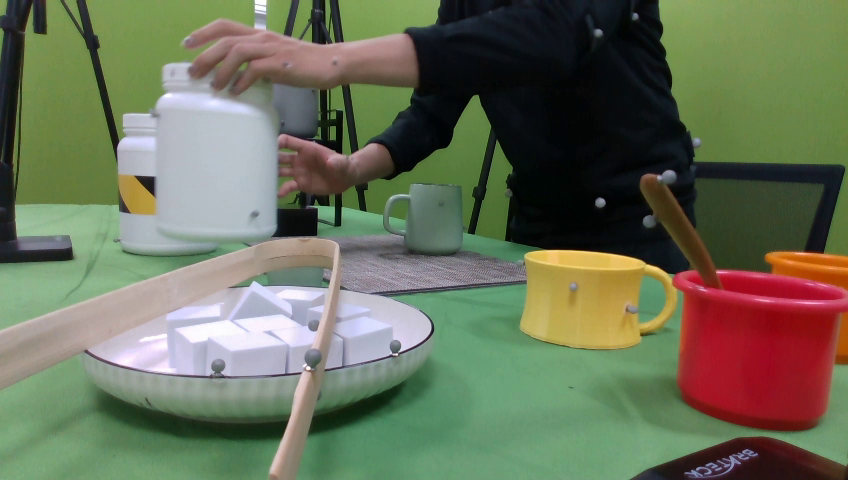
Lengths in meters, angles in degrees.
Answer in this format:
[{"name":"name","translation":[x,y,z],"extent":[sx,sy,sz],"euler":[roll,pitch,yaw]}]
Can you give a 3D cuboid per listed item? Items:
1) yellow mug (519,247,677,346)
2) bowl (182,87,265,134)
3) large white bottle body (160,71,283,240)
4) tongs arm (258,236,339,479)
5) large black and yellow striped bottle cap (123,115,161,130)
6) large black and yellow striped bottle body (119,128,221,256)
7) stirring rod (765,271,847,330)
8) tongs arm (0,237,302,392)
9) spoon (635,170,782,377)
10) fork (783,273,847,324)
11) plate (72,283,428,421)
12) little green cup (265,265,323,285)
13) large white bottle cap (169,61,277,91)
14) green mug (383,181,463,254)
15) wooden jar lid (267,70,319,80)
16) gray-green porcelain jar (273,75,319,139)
[{"name":"yellow mug","translation":[0.148,0.045,0.513],"extent":[0.131,0.064,0.100],"euler":[3,7,0]},{"name":"bowl","translation":[-0.383,-0.244,1.158],"extent":[0.151,0.077,0.151],"euler":[2,7,0]},{"name":"large white bottle body","translation":[-0.229,-0.100,0.690],"extent":[0.131,0.184,0.130],"euler":[4,8,0]},{"name":"tongs arm","translation":[-0.074,0.040,0.345],"extent":[0.051,0.026,0.384],"euler":[-1,9,-3]},{"name":"large black and yellow striped bottle cap","translation":[-0.353,-0.159,0.838],"extent":[0.115,0.019,0.115],"euler":[2,6,0]},{"name":"large black and yellow striped bottle body","translation":[-0.355,-0.076,0.850],"extent":[0.131,0.184,0.130],"euler":[2,8,0]},{"name":"stirring rod","translation":[0.352,0.020,0.481],"extent":[0.176,0.006,0.014],"euler":[-40,-7,17]},{"name":"tongs arm","translation":[-0.157,0.038,0.347],"extent":[0.028,0.028,0.388],"euler":[-3,8,11]},{"name":"spoon","translation":[0.161,0.026,0.346],"extent":[0.041,0.194,0.021],"euler":[10,56,53]},{"name":"fork","translation":[0.332,0.018,0.443],"extent":[0.028,0.018,0.207],"euler":[-3,-35,-16]},{"name":"plate","translation":[-0.102,0.066,0.380],"extent":[0.208,0.039,0.207],"euler":[3,7,0]},{"name":"little green cup","translation":[-0.134,0.034,0.627],"extent":[0.061,0.038,0.061],"euler":[3,6,0]},{"name":"large white bottle cap","translation":[-0.223,-0.183,0.679],"extent":[0.115,0.018,0.115],"euler":[5,8,0]},{"name":"green mug","translation":[-0.001,-0.036,0.922],"extent":[0.126,0.105,0.092],"euler":[0,8,-16]},{"name":"wooden jar lid","translation":[-0.275,-0.339,1.271],"extent":[0.108,0.020,0.108],"euler":[5,6,0]},{"name":"gray-green porcelain jar","translation":[-0.277,-0.279,1.280],"extent":[0.106,0.126,0.106],"euler":[2,8,0]}]
